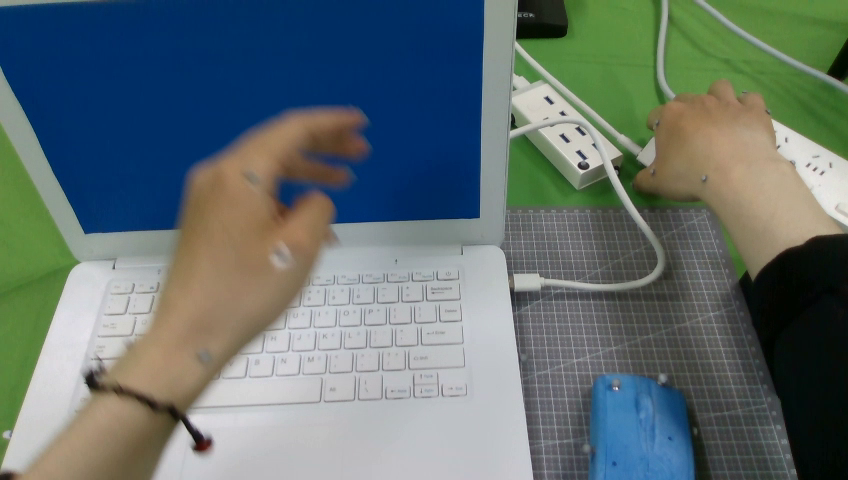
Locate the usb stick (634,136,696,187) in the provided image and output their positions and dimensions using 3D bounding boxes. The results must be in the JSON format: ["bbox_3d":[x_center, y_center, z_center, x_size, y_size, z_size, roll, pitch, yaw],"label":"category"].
[{"bbox_3d":[0.222,-0.069,0.547,0.059,0.027,0.021,31,21,2],"label":"usb stick"}]

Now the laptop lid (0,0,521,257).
[{"bbox_3d":[-0.114,-0.079,0.426,0.357,0.244,0.013,-3,40,1],"label":"laptop lid"}]

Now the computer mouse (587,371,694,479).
[{"bbox_3d":[0.138,0.136,0.390,0.062,0.041,0.116,9,50,11],"label":"computer mouse"}]

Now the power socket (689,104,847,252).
[{"bbox_3d":[0.344,-0.045,0.525,0.072,0.033,0.224,-35,60,-23],"label":"power socket"}]

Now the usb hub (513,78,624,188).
[{"bbox_3d":[0.130,-0.105,0.579,0.049,0.025,0.124,-25,57,-16],"label":"usb hub"}]

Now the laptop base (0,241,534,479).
[{"bbox_3d":[-0.106,0.107,0.434,0.354,0.023,0.233,-2,57,0],"label":"laptop base"}]
